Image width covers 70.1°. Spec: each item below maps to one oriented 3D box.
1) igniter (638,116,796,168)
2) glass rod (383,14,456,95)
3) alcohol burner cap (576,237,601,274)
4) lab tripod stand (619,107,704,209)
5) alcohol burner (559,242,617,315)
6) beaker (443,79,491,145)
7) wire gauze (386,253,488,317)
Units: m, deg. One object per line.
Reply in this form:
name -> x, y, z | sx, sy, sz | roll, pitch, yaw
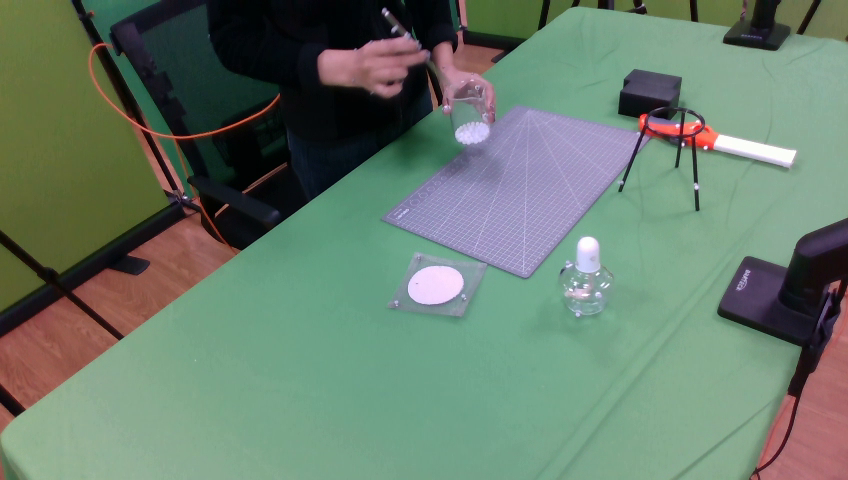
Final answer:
igniter -> 0.517, -0.181, 1.093 | 0.274, 0.025, 0.057 | 23, 65, 32
glass rod -> -0.002, -0.276, 0.917 | 0.008, 0.201, 0.008 | -14, 61, 29
alcohol burner cap -> 0.216, 0.018, 0.793 | 0.034, 0.048, 0.033 | -7, 35, 6
lab tripod stand -> 0.400, -0.136, 0.981 | 0.148, 0.132, 0.147 | -4, 41, 4
alcohol burner -> 0.222, 0.045, 0.816 | 0.078, 0.119, 0.077 | -4, 42, 4
beaker -> 0.083, -0.230, 1.097 | 0.074, 0.101, 0.083 | -37, 45, -25
wire gauze -> 0.021, 0.067, 0.910 | 0.121, 0.011, 0.125 | 9, 41, 20
